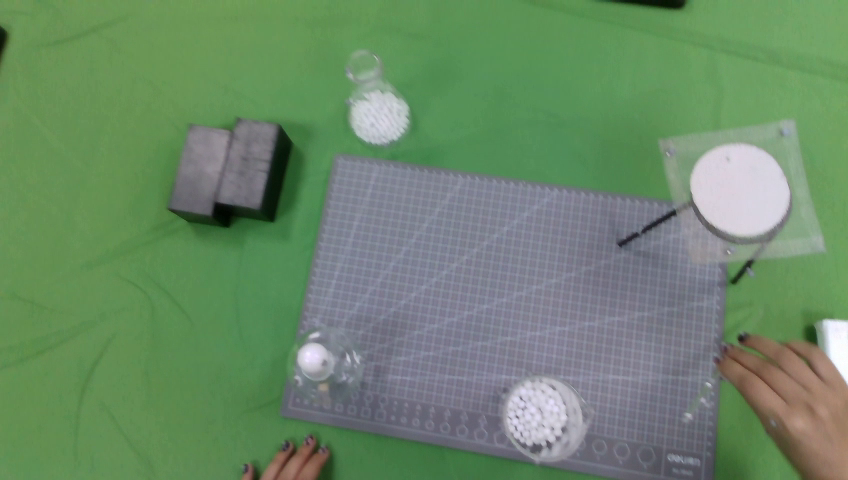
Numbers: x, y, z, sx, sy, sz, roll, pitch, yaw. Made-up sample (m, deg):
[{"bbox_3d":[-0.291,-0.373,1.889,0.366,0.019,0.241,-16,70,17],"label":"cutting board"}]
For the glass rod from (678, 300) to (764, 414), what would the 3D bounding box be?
[{"bbox_3d":[0.287,0.106,0.576,0.200,0.008,0.008,-31,75,-37],"label":"glass rod"}]

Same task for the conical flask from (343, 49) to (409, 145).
[{"bbox_3d":[-0.058,-0.160,0.660,0.075,0.122,0.075,-1,76,3],"label":"conical flask"}]

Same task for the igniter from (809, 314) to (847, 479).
[{"bbox_3d":[0.410,0.212,0.600,0.057,0.025,0.275,5,78,-7],"label":"igniter"}]

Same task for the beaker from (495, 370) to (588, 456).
[{"bbox_3d":[0.109,0.164,0.587,0.084,0.101,0.073,-9,77,1],"label":"beaker"}]

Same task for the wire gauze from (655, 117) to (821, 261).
[{"bbox_3d":[0.281,-0.045,0.541,0.125,0.011,0.121,-7,78,1],"label":"wire gauze"}]

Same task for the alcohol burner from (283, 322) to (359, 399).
[{"bbox_3d":[-0.105,0.118,0.601,0.078,0.119,0.077,0,76,1],"label":"alcohol burner"}]

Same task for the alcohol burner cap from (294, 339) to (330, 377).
[{"bbox_3d":[-0.106,0.108,0.566,0.034,0.048,0.033,2,70,-4],"label":"alcohol burner cap"}]

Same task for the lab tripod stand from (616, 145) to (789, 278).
[{"bbox_3d":[0.281,-0.027,0.606,0.148,0.132,0.147,0,78,2],"label":"lab tripod stand"}]
